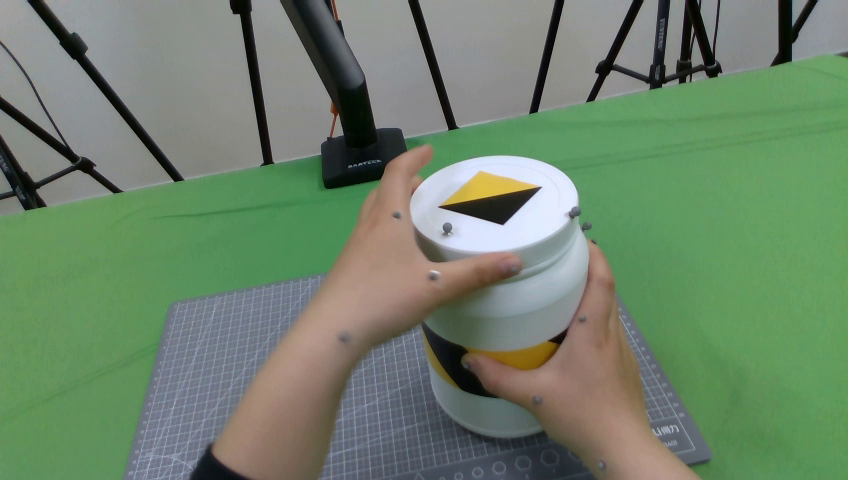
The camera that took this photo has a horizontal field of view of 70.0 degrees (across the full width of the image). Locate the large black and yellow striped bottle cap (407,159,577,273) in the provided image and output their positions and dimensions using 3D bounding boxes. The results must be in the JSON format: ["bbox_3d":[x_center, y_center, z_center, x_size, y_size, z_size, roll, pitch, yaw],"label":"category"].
[{"bbox_3d":[0.045,-0.020,0.411,0.115,0.019,0.114,-6,36,5],"label":"large black and yellow striped bottle cap"}]

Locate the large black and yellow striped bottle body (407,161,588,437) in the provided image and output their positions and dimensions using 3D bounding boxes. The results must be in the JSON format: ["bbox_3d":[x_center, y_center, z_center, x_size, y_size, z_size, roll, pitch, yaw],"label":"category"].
[{"bbox_3d":[0.058,0.045,0.463,0.131,0.186,0.129,-6,38,5],"label":"large black and yellow striped bottle body"}]
